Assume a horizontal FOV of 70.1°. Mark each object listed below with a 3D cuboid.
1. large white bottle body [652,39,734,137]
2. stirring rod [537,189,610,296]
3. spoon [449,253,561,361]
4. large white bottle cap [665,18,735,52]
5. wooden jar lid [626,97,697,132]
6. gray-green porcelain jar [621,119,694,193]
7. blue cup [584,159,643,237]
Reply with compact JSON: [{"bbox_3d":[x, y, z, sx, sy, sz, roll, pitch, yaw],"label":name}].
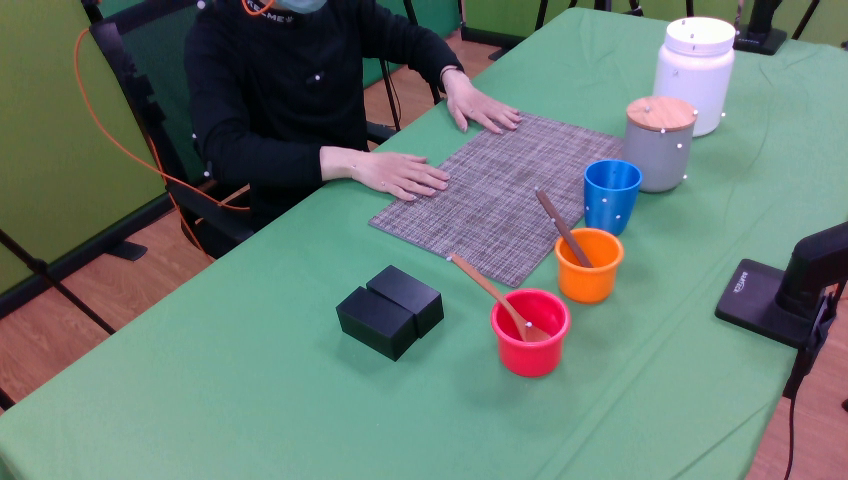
[{"bbox_3d":[0.496,-0.300,1.126,0.130,0.185,0.130,-4,41,4],"label":"large white bottle body"},{"bbox_3d":[0.211,0.003,0.855,0.014,0.006,0.176,-32,88,-30],"label":"stirring rod"},{"bbox_3d":[0.103,0.083,0.770,0.194,0.021,0.042,47,51,-7],"label":"spoon"},{"bbox_3d":[0.488,-0.364,1.071,0.115,0.018,0.114,-4,41,4],"label":"large white bottle cap"},{"bbox_3d":[0.381,-0.198,0.976,0.108,0.021,0.108,-2,40,3],"label":"wooden jar lid"},{"bbox_3d":[0.389,-0.152,1.016,0.106,0.127,0.105,-4,40,4],"label":"gray-green porcelain jar"},{"bbox_3d":[0.289,-0.061,0.944,0.092,0.100,0.092,-3,40,3],"label":"blue cup"}]
